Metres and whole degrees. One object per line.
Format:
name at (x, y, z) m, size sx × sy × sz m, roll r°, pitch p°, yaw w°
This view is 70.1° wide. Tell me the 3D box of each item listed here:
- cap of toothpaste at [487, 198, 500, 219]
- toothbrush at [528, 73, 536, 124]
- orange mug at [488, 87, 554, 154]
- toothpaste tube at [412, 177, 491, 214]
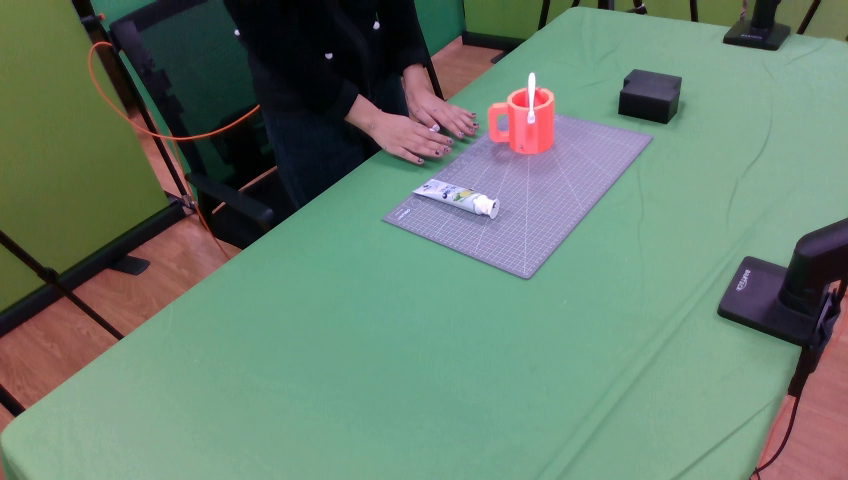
cap of toothpaste at (0.115, -0.054, 1.007) m, size 0.011 × 0.037 × 0.037 m, roll 17°, pitch 47°, yaw 24°
toothbrush at (0.198, -0.267, 1.114) m, size 0.014 × 0.017 × 0.181 m, roll -5°, pitch 40°, yaw 14°
orange mug at (0.185, -0.227, 1.151) m, size 0.126 × 0.101 × 0.083 m, roll 1°, pitch 41°, yaw 5°
toothpaste tube at (0.056, -0.079, 1.057) m, size 0.163 × 0.034 × 0.055 m, roll 22°, pitch 42°, yaw 37°
